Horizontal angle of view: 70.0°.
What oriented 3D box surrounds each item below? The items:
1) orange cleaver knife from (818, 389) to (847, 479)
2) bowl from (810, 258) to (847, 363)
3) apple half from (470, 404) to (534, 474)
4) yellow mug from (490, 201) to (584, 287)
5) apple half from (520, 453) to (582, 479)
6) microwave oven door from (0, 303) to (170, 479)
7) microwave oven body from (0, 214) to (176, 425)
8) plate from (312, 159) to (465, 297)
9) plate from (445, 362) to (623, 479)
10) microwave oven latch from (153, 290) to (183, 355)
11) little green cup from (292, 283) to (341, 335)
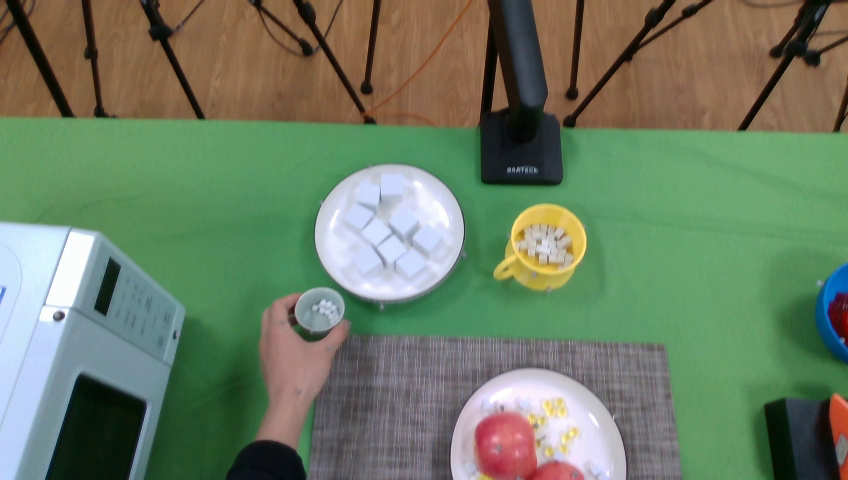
[{"bbox_3d":[0.474,0.281,0.694,0.012,0.077,0.211,2,90,5],"label":"orange cleaver knife"},{"bbox_3d":[0.559,0.102,0.774,0.151,0.077,0.150,0,67,0],"label":"bowl"},{"bbox_3d":[0.092,0.233,0.715,0.074,0.054,0.080,-1,67,2],"label":"apple half"},{"bbox_3d":[0.146,0.013,0.815,0.131,0.064,0.099,-28,69,-11],"label":"yellow mug"},{"bbox_3d":[0.151,0.286,0.703,0.081,0.033,0.080,0,64,1],"label":"apple half"},{"bbox_3d":[-0.351,0.263,0.589,0.039,0.245,0.353,5,67,2],"label":"microwave oven door"},{"bbox_3d":[-0.493,0.214,0.614,0.326,0.262,0.438,5,67,1],"label":"microwave oven body"},{"bbox_3d":[-0.048,-0.016,0.841,0.208,0.039,0.206,0,67,0],"label":"plate"},{"bbox_3d":[0.128,0.252,0.724,0.209,0.038,0.207,0,67,0],"label":"plate"},{"bbox_3d":[-0.328,0.104,0.767,0.030,0.030,0.078,6,68,2],"label":"microwave oven latch"},{"bbox_3d":[-0.135,0.089,0.766,0.061,0.039,0.061,5,54,-6],"label":"little green cup"}]
